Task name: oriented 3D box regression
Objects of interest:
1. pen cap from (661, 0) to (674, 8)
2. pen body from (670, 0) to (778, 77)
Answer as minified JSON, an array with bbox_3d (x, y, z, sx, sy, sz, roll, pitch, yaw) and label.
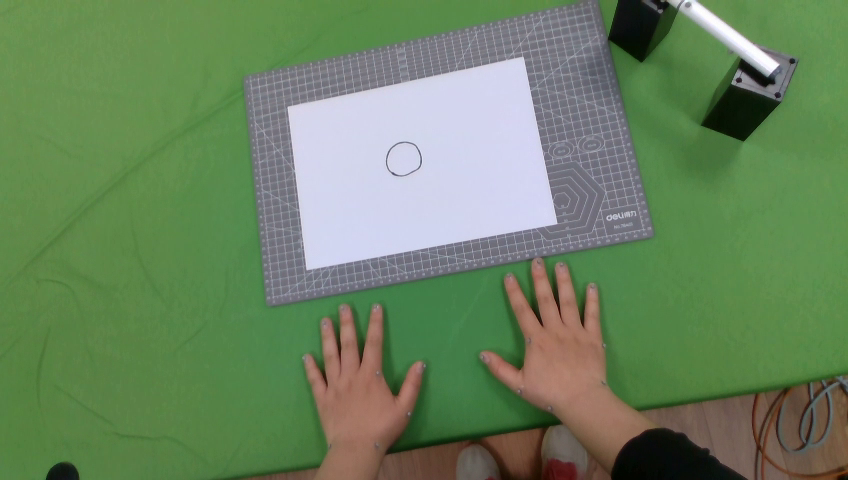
[{"bbox_3d":[0.240,-0.252,0.611,0.038,0.017,0.017,42,87,16],"label":"pen cap"},{"bbox_3d":[0.284,-0.209,0.597,0.143,0.017,0.017,44,87,14],"label":"pen body"}]
